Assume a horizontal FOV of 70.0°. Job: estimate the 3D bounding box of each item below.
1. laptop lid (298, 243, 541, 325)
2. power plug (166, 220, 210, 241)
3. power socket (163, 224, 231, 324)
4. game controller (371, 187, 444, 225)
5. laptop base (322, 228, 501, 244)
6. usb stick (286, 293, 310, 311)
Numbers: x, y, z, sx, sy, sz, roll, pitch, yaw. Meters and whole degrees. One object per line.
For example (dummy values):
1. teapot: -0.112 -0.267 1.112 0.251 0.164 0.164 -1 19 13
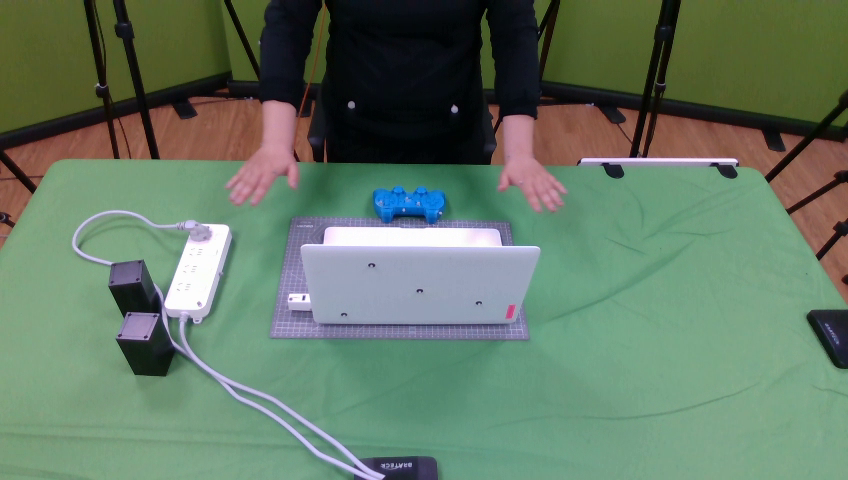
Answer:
1. laptop lid: -0.010 0.076 0.958 0.357 0.243 0.013 1 53 -5
2. power plug: -0.440 -0.016 1.144 0.072 0.053 0.035 8 46 8
3. power socket: -0.410 0.052 1.107 0.072 0.033 0.225 3 46 -3
4. game controller: -0.033 -0.079 1.254 0.155 0.052 0.096 1 48 -3
5. laptop base: -0.020 0.063 1.136 0.355 0.023 0.234 0 43 -4
6. usb stick: -0.210 0.109 1.059 0.059 0.027 0.021 4 44 -6
